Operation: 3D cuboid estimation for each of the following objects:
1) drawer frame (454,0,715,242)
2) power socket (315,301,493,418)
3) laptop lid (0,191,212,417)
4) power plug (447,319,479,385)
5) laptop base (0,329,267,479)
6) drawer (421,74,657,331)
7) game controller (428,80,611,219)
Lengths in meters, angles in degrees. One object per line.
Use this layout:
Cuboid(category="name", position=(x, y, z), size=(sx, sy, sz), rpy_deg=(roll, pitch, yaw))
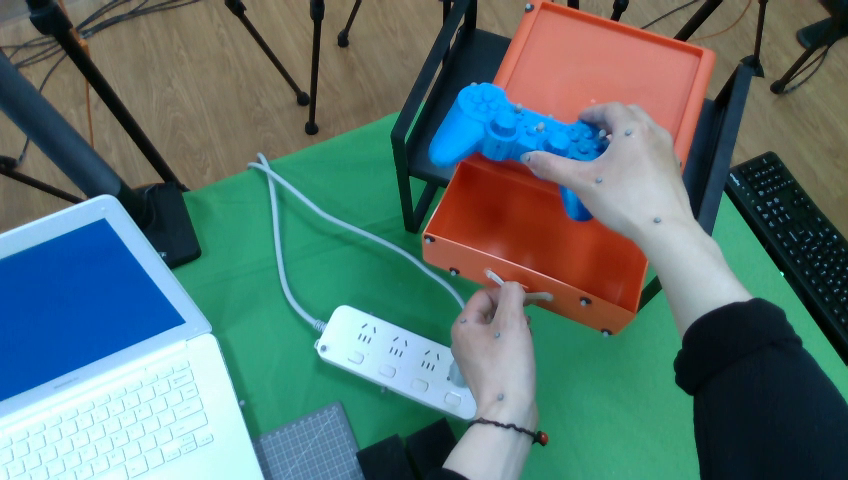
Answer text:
Cuboid(category="drawer frame", position=(0.160, -0.119, 0.613), size=(0.201, 0.083, 0.212), rpy_deg=(20, 70, 9))
Cuboid(category="power socket", position=(-0.024, 0.143, 0.734), size=(0.226, 0.033, 0.072), rpy_deg=(22, 71, 10))
Cuboid(category="laptop lid", position=(-0.444, 0.097, 0.654), size=(0.357, 0.244, 0.013), rpy_deg=(-25, 45, -7))
Cuboid(category="power plug", position=(0.055, 0.136, 0.710), size=(0.035, 0.053, 0.072), rpy_deg=(31, 70, 13))
Cuboid(category="laptop base", position=(-0.372, 0.275, 0.697), size=(0.354, 0.023, 0.234), rpy_deg=(-24, 73, -8))
Cuboid(category="drawer", position=(0.126, -0.045, 0.582), size=(0.194, 0.074, 0.211), rpy_deg=(21, 68, 10))
Cuboid(category="game controller", position=(0.090, -0.088, 0.532), size=(0.155, 0.052, 0.096), rpy_deg=(22, 54, 3))
